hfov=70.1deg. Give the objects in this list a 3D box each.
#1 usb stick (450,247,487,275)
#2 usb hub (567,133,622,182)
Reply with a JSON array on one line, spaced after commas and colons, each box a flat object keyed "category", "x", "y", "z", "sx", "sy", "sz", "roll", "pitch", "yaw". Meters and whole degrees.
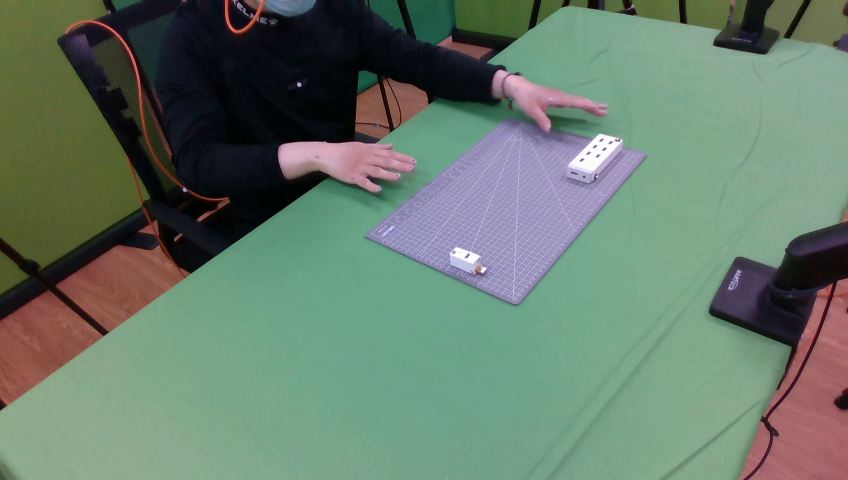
[{"category": "usb stick", "x": 0.069, "y": 0.033, "z": 0.912, "sx": 0.059, "sy": 0.027, "sz": 0.021, "roll": 24, "pitch": 48, "yaw": 28}, {"category": "usb hub", "x": 0.309, "y": -0.149, "z": 1.091, "sx": 0.049, "sy": 0.025, "sz": 0.125, "roll": 24, "pitch": 50, "yaw": 32}]
